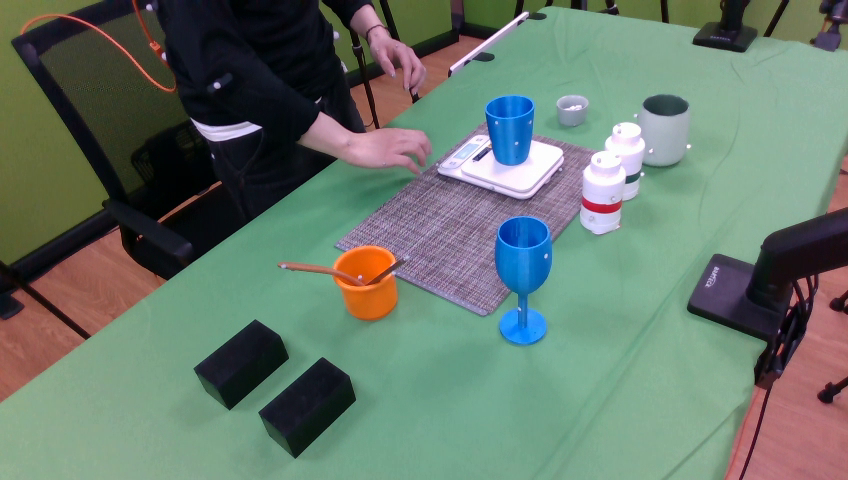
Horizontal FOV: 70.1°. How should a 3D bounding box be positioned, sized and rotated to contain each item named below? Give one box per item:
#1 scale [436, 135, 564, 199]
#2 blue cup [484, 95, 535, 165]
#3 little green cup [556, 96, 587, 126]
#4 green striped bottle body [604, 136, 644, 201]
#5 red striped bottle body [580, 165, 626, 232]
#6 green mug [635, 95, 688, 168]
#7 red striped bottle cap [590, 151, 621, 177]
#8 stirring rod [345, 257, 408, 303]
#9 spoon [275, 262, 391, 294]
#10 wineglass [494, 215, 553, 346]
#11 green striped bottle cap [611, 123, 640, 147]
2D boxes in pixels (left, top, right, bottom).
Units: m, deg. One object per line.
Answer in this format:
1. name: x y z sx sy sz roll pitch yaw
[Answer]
1. scale: 0.137 -0.142 1.101 0.199 0.032 0.149 22 48 30
2. blue cup: 0.150 -0.188 1.052 0.092 0.100 0.092 -5 39 5
3. little green cup: 0.295 -0.258 1.214 0.061 0.039 0.061 -4 42 4
4. green striped bottle body: 0.326 -0.128 0.997 0.063 0.120 0.063 -4 41 4
5. red striped bottle body: 0.278 -0.075 0.942 0.063 0.120 0.062 -4 41 4
6. green mug: 0.421 -0.201 1.081 0.092 0.105 0.125 5 42 15
7. red striped bottle cap: 0.273 -0.115 0.908 0.044 0.018 0.044 -4 44 4
8. stirring rod: -0.067 0.057 0.815 0.014 0.175 0.006 -25 82 -37
9. spoon: -0.120 0.050 0.830 0.041 0.195 0.021 31 97 45
10. wineglass: 0.127 0.055 0.770 0.074 0.173 0.073 -4 40 4
11. green striped bottle cap: 0.322 -0.168 0.963 0.044 0.020 0.044 -3 41 4
